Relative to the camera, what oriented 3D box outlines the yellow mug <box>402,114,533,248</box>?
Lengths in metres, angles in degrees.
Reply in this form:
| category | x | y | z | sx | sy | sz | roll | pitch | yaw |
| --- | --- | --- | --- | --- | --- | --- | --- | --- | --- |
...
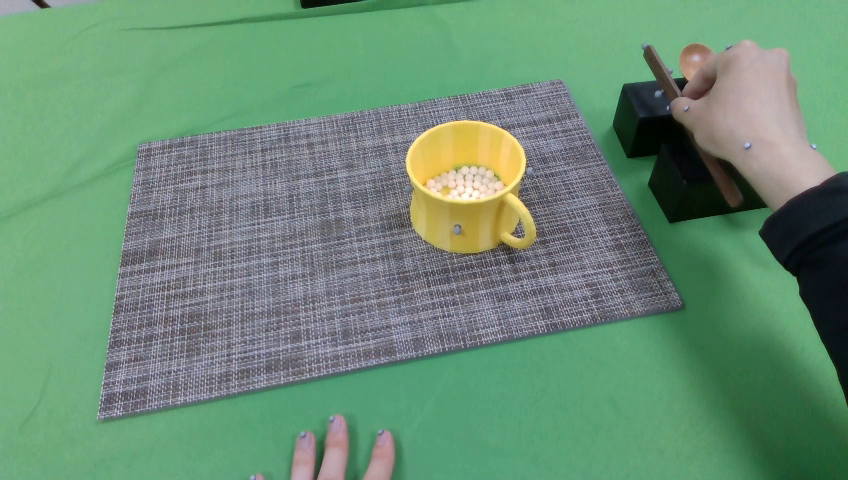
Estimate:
| category | x | y | z | sx | sy | sz | roll | pitch | yaw |
| --- | --- | --- | --- | --- | --- | --- | --- | --- | --- |
| yellow mug | 0.043 | -0.043 | 0.515 | 0.100 | 0.064 | 0.129 | -37 | 60 | -23 |

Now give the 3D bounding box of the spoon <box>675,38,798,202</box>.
| category | x | y | z | sx | sy | sz | roll | pitch | yaw |
| --- | --- | --- | --- | --- | --- | --- | --- | --- | --- |
| spoon | 0.271 | -0.110 | 0.529 | 0.042 | 0.022 | 0.191 | -10 | 55 | -6 |

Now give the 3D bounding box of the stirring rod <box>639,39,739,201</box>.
| category | x | y | z | sx | sy | sz | roll | pitch | yaw |
| --- | --- | --- | --- | --- | --- | --- | --- | --- | --- |
| stirring rod | 0.222 | -0.107 | 0.517 | 0.006 | 0.014 | 0.174 | -8 | 61 | -15 |
